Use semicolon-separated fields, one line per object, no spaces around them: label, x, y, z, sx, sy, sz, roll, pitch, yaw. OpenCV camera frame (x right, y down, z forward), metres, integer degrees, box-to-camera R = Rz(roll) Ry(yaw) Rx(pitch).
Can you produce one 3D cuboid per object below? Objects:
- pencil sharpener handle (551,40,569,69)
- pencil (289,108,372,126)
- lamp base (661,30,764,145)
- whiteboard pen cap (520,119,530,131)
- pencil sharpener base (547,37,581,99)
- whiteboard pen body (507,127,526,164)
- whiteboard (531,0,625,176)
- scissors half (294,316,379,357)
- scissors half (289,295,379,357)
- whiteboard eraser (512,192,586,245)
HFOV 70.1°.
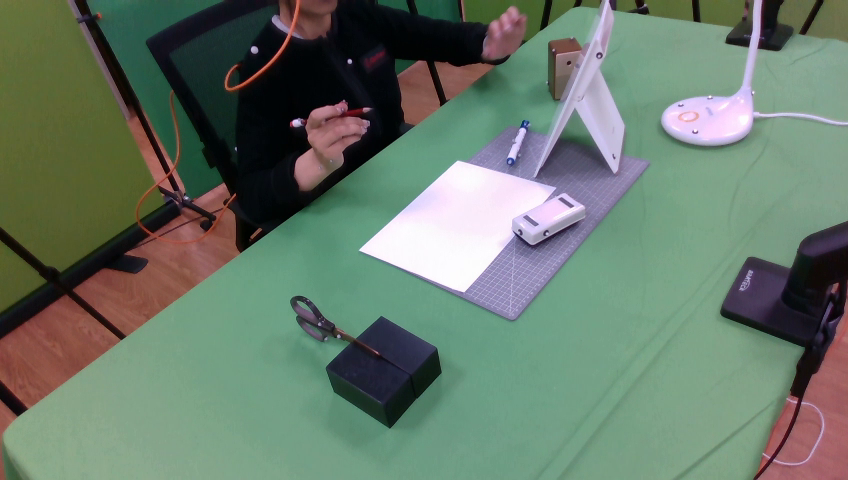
pencil sharpener handle;0.291;-0.410;1.320;0.036;0.068;0.030;2;40;-6
pencil;-0.152;-0.196;0.962;0.192;0.012;0.012;1;38;39
lamp base;0.535;-0.287;1.096;0.179;0.181;0.159;-10;40;-4
whiteboard pen cap;0.200;-0.227;1.205;0.018;0.018;0.033;6;42;18
pencil sharpener base;0.299;-0.368;1.290;0.061;0.107;0.076;-8;40;2
whiteboard pen body;0.181;-0.189;1.162;0.017;0.017;0.140;8;42;19
whiteboard;0.320;-0.258;1.050;0.144;0.306;0.217;22;45;5
scissors half;-0.119;0.132;0.813;0.174;0.040;0.013;9;32;44
scissors half;-0.122;0.114;0.803;0.174;0.040;0.013;26;48;32
whiteboard eraser;0.199;-0.032;0.962;0.113;0.042;0.055;-27;42;-20
